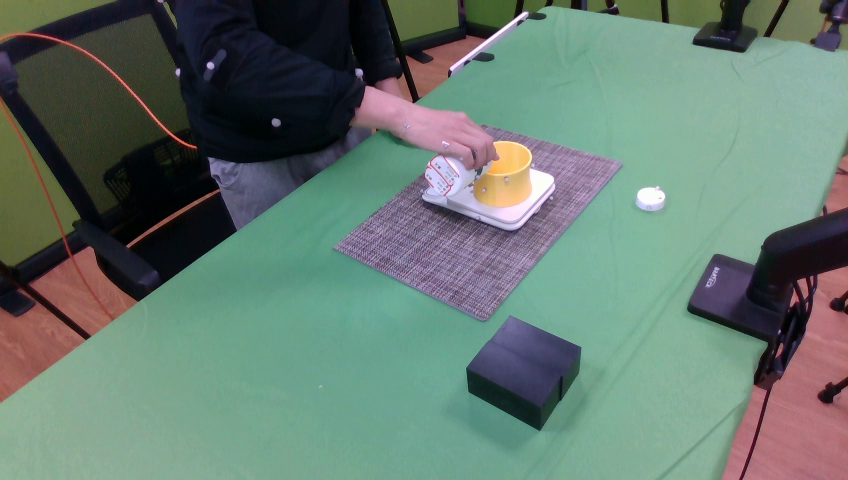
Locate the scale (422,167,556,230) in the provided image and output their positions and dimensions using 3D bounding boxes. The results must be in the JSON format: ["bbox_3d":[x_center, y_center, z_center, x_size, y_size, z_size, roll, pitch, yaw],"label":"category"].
[{"bbox_3d":[0.110,-0.089,1.042,0.199,0.032,0.149,23,49,31],"label":"scale"}]

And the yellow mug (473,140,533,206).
[{"bbox_3d":[0.125,-0.121,1.004,0.100,0.064,0.130,-13,41,-5],"label":"yellow mug"}]

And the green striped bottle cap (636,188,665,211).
[{"bbox_3d":[0.374,-0.067,0.998,0.044,0.020,0.044,-6,39,5],"label":"green striped bottle cap"}]

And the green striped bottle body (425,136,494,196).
[{"bbox_3d":[0.060,-0.116,0.908,0.062,0.063,0.120,20,37,29],"label":"green striped bottle body"}]
